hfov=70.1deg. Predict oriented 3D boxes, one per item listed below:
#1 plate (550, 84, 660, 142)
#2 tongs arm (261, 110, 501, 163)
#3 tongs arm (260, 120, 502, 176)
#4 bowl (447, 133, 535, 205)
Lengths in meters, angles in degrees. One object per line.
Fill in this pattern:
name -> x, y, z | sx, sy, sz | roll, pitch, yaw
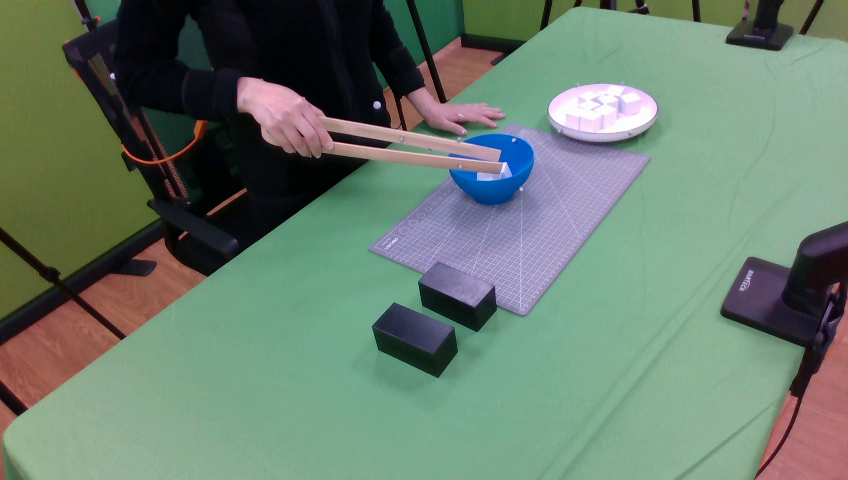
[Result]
plate -> 0.355, -0.247, 1.195 | 0.207, 0.039, 0.206 | -5, 39, 5
tongs arm -> -0.066, -0.160, 0.976 | 0.385, 0.026, 0.050 | 12, 50, -2
tongs arm -> -0.067, -0.142, 0.960 | 0.388, 0.028, 0.028 | 9, 54, -5
bowl -> 0.119, -0.114, 1.051 | 0.151, 0.077, 0.150 | -5, 40, 5
